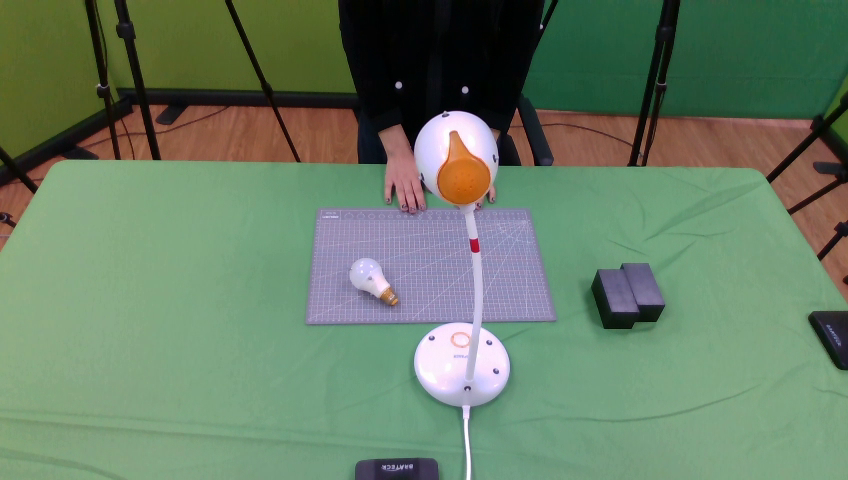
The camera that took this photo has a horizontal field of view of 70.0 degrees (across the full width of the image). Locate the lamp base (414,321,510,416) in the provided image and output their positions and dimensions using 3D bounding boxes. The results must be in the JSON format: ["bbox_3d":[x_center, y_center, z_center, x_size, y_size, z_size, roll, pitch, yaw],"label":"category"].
[{"bbox_3d":[0.069,0.159,0.942,0.161,0.181,0.178,-4,49,-8],"label":"lamp base"}]

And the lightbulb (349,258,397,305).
[{"bbox_3d":[-0.090,0.078,1.095,0.107,0.060,0.059,43,56,12],"label":"lightbulb"}]

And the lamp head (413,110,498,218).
[{"bbox_3d":[0.044,-0.090,0.758,0.112,0.113,0.122,-1,32,-4],"label":"lamp head"}]
